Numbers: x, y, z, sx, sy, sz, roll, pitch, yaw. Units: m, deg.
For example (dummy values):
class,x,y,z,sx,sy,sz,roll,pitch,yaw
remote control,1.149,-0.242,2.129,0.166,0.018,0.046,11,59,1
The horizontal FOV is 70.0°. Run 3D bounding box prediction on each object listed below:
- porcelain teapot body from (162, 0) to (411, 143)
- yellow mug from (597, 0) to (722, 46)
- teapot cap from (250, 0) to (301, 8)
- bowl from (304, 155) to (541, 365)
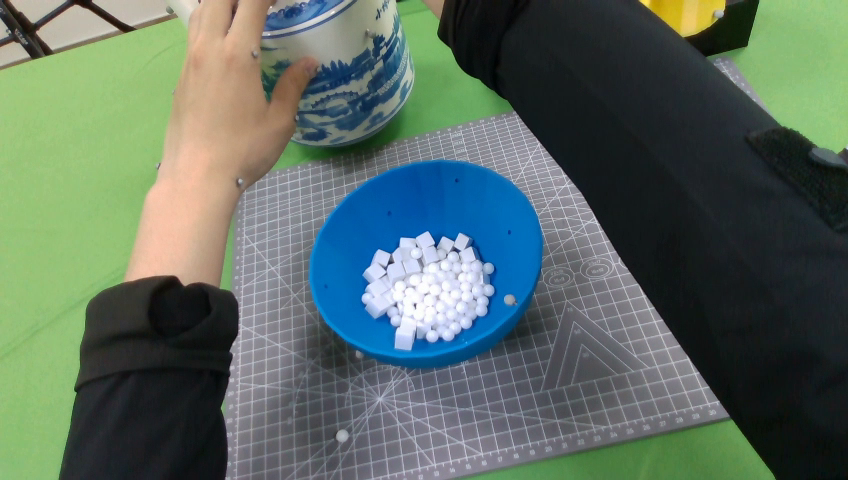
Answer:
class,x,y,z,sx,sy,sz,roll,pitch,yaw
porcelain teapot body,-0.129,-0.190,0.487,0.205,0.227,0.144,-4,60,11
yellow mug,0.183,-0.209,0.476,0.099,0.064,0.130,16,63,23
teapot cap,-0.109,-0.210,0.448,0.085,0.044,0.084,-7,60,12
bowl,0.004,0.024,0.408,0.151,0.077,0.150,-6,54,9
